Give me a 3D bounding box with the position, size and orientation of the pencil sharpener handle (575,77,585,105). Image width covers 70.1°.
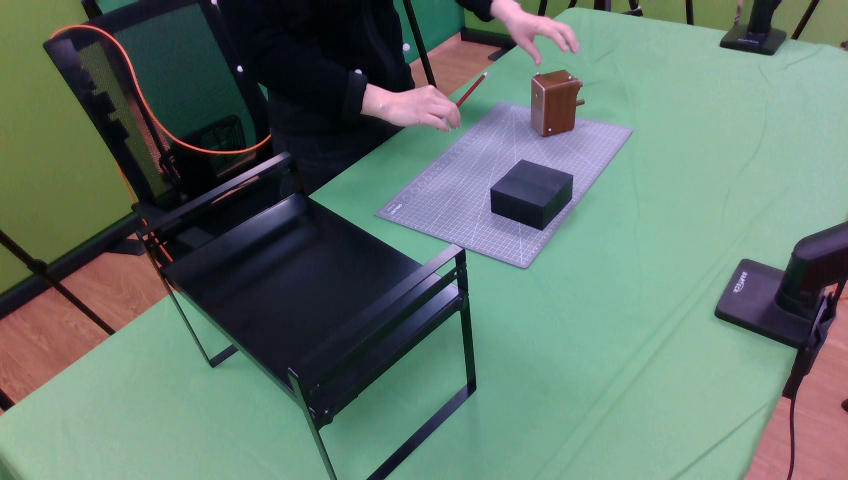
[{"bbox_3d":[0.303,-0.292,1.181,0.031,0.068,0.035,-15,49,-9],"label":"pencil sharpener handle"}]

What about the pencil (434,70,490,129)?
[{"bbox_3d":[0.073,-0.260,1.101,0.012,0.012,0.194,20,54,28],"label":"pencil"}]

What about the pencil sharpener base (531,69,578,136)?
[{"bbox_3d":[0.256,-0.268,1.179,0.077,0.107,0.061,-15,41,-9],"label":"pencil sharpener base"}]
